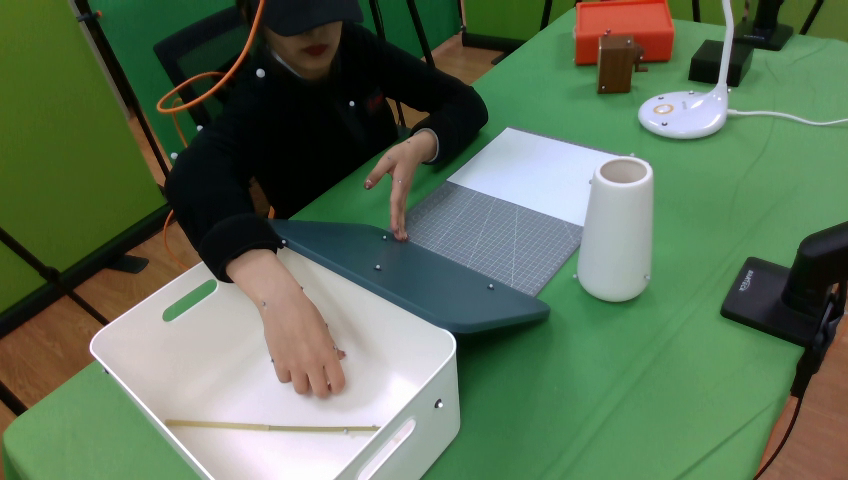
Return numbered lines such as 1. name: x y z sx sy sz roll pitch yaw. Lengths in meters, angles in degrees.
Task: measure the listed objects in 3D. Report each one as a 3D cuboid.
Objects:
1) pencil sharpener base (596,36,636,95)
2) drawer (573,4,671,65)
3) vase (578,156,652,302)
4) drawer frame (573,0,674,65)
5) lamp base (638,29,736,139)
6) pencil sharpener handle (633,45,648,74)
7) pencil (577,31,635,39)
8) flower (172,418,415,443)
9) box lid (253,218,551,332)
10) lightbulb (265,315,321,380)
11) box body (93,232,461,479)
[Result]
1. pencil sharpener base: 0.406 -0.369 1.280 0.076 0.107 0.061 1 41 13
2. drawer: 0.461 -0.490 1.434 0.211 0.073 0.194 2 40 12
3. vase: 0.261 -0.011 0.812 0.098 0.201 0.097 -4 40 4
4. drawer frame: 0.464 -0.492 1.434 0.213 0.083 0.201 1 40 12
5. lamp base: 0.501 -0.302 1.125 0.179 0.181 0.160 -4 40 3
6. pencil sharpener handle: 0.454 -0.378 1.262 0.030 0.068 0.036 1 47 13
7. pencil: 0.431 -0.489 1.443 0.012 0.012 0.192 -25 30 -18
8. flower: -0.154 0.229 0.742 0.360 0.038 0.044 -2 46 15
9. box lid: -0.031 0.037 0.833 0.368 0.015 0.265 24 12 33
10. lightbulb: -0.171 0.146 0.811 0.060 0.060 0.107 -30 56 -22
11. box body: -0.162 0.170 0.708 0.361 0.161 0.255 25 50 34
